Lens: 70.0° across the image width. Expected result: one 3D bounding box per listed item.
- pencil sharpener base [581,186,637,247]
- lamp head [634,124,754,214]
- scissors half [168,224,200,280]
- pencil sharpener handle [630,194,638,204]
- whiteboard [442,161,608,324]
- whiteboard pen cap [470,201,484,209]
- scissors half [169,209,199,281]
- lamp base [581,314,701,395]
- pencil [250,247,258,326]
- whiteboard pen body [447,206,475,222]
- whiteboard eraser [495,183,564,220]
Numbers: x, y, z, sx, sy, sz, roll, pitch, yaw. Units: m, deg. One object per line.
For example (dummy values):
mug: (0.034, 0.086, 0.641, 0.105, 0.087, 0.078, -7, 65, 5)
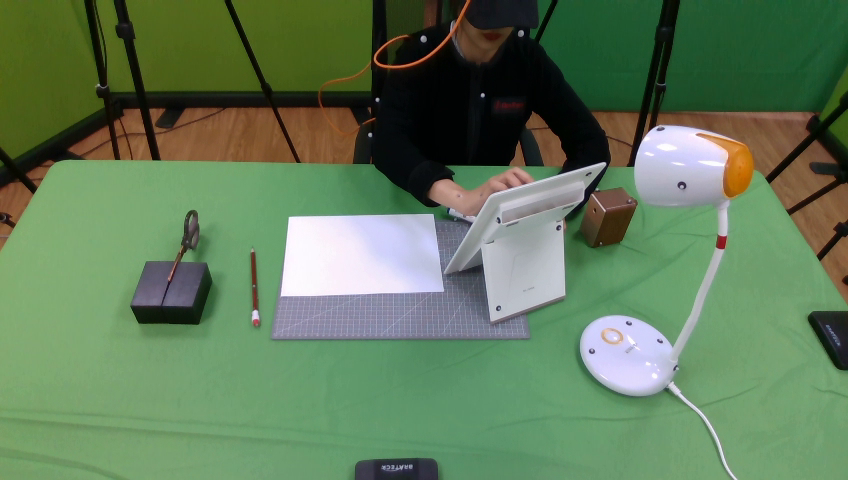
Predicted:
pencil sharpener base: (0.369, -0.047, 1.209, 0.077, 0.107, 0.061, -11, 47, -14)
lamp head: (0.351, -0.089, 0.776, 0.112, 0.113, 0.122, -30, 30, -28)
scissors half: (-0.440, 0.023, 1.111, 0.013, 0.040, 0.174, 7, 29, -6)
pencil sharpener handle: (0.417, -0.068, 1.215, 0.031, 0.068, 0.036, -11, 61, -14)
whiteboard: (0.187, 0.025, 1.029, 0.217, 0.306, 0.143, -16, 69, -20)
whiteboard pen cap: (0.113, -0.073, 1.280, 0.033, 0.018, 0.018, 4, 46, 6)
scissors half: (-0.438, 0.007, 1.098, 0.013, 0.040, 0.174, 3, 48, -3)
lamp base: (0.361, 0.145, 0.973, 0.178, 0.181, 0.160, 34, 53, 23)
pencil: (-0.312, 0.079, 1.107, 0.012, 0.012, 0.192, -7, 46, -11)
whiteboard pen body: (0.111, -0.038, 1.241, 0.140, 0.017, 0.017, 23, 49, 14)
whiteboard eraser: (0.182, -0.065, 1.047, 0.113, 0.056, 0.041, -12, 61, -15)
